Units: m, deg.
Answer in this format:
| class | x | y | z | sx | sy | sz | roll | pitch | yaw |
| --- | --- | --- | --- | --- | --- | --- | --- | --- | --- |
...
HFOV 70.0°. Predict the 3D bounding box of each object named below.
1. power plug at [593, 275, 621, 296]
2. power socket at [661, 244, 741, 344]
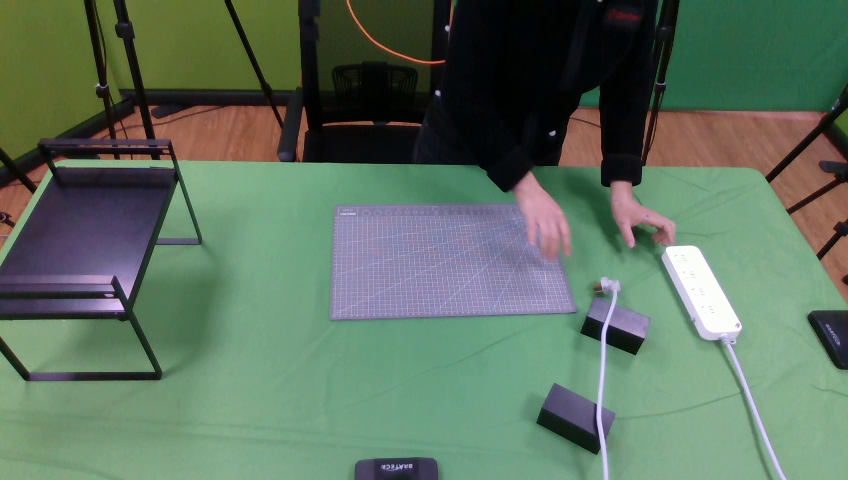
| class | x | y | z | sx | sy | sz | roll | pitch | yaw |
| --- | --- | --- | --- | --- | --- | --- | --- | --- | --- |
| power plug | 0.332 | 0.085 | 1.115 | 0.052 | 0.035 | 0.073 | -16 | -4 | 30 |
| power socket | 0.515 | 0.093 | 1.137 | 0.072 | 0.033 | 0.225 | -3 | 47 | -5 |
